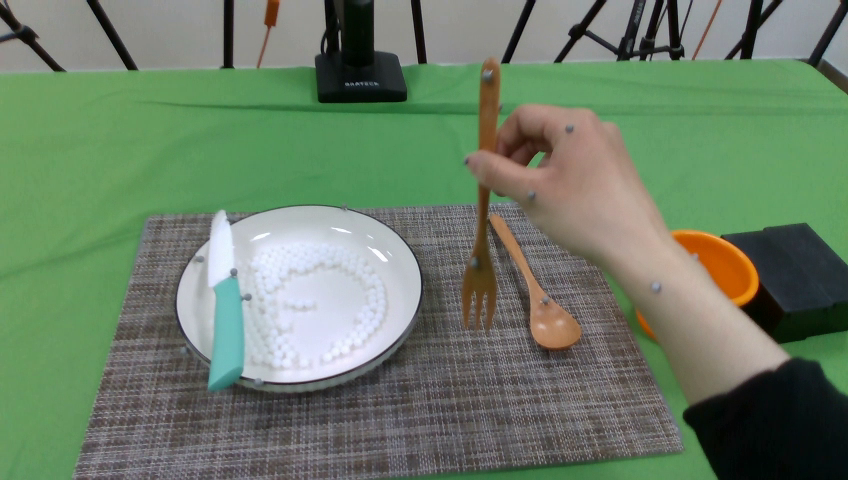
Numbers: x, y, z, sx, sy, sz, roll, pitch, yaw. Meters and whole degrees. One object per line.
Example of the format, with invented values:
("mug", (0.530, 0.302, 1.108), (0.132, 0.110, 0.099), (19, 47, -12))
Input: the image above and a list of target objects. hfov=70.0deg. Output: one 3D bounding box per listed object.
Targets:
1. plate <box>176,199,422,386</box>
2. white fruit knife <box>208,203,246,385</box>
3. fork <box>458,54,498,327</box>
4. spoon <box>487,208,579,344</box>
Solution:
("plate", (-0.105, 0.043, 0.534), (0.209, 0.038, 0.207), (3, 44, -2))
("white fruit knife", (-0.167, 0.033, 0.508), (0.027, 0.016, 0.205), (-11, 45, -11))
("fork", (0.039, -0.024, 0.427), (0.028, 0.209, 0.018), (7, 33, 11))
("spoon", (0.097, 0.026, 0.582), (0.041, 0.022, 0.191), (-20, 47, 0))
